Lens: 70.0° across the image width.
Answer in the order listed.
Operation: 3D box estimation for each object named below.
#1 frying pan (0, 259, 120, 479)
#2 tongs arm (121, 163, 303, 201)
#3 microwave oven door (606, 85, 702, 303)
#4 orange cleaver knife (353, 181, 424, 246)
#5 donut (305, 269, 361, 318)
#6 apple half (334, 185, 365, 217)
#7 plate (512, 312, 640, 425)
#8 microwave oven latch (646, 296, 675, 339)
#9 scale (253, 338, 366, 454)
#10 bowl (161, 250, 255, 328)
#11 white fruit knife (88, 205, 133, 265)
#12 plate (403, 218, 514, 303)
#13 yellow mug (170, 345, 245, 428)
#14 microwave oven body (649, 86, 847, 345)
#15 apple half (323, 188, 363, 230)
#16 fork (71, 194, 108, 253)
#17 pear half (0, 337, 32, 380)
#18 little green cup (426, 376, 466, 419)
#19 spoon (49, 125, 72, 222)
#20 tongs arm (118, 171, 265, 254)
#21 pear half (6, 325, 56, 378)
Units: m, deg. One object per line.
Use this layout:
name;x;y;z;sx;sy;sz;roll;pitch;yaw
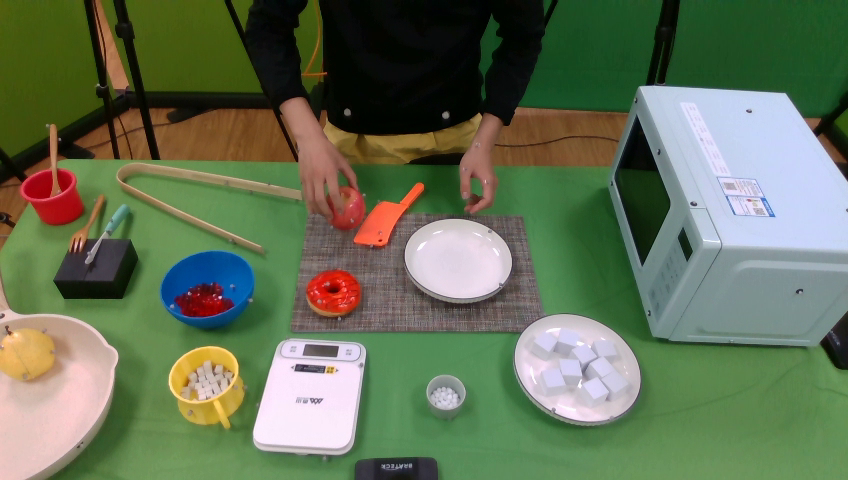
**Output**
frying pan;-0.647;0.164;0.936;0.307;0.103;0.485;-19;58;-22
tongs arm;-0.444;-0.115;1.266;0.384;0.026;0.050;12;50;7
microwave oven door;0.422;-0.094;1.140;0.039;0.245;0.353;2;46;-1
orange cleaver knife;-0.070;-0.059;1.245;0.077;0.012;0.210;18;50;22
donut;-0.160;0.094;1.075;0.099;0.048;0.098;4;45;-3
apple half;-0.140;-0.077;1.179;0.081;0.082;0.032;29;57;22
plate;0.246;0.213;0.999;0.208;0.039;0.206;2;46;-2
microwave oven latch;0.412;0.134;1.061;0.030;0.029;0.078;4;45;1
scale;-0.175;0.236;0.951;0.149;0.032;0.199;4;45;0
bowl;-0.362;0.098;1.039;0.151;0.077;0.150;2;45;-2
white fruit knife;-0.584;-0.013;1.129;0.016;0.027;0.206;-1;32;-5
plate;0.064;0.042;1.146;0.209;0.038;0.208;2;46;-2
yellow mug;-0.322;0.230;0.922;0.100;0.064;0.130;-24;53;-25
microwave oven body;0.567;-0.053;1.118;0.326;0.261;0.439;2;45;-1
apple half;-0.163;-0.053;1.161;0.080;0.075;0.053;31;58;18
fork;-0.634;-0.036;1.158;0.028;0.019;0.206;-8;32;-8
pear half;-0.631;0.184;0.921;0.070;0.088;0.031;29;49;19
little green cup;0.033;0.248;0.950;0.061;0.039;0.061;2;46;-2
spoon;-0.718;-0.131;1.189;0.041;0.021;0.193;-4;90;-6
tongs arm;-0.473;-0.056;1.210;0.386;0.028;0.028;23;56;17
pear half;-0.608;0.158;0.935;0.076;0.110;0.056;31;51;20
